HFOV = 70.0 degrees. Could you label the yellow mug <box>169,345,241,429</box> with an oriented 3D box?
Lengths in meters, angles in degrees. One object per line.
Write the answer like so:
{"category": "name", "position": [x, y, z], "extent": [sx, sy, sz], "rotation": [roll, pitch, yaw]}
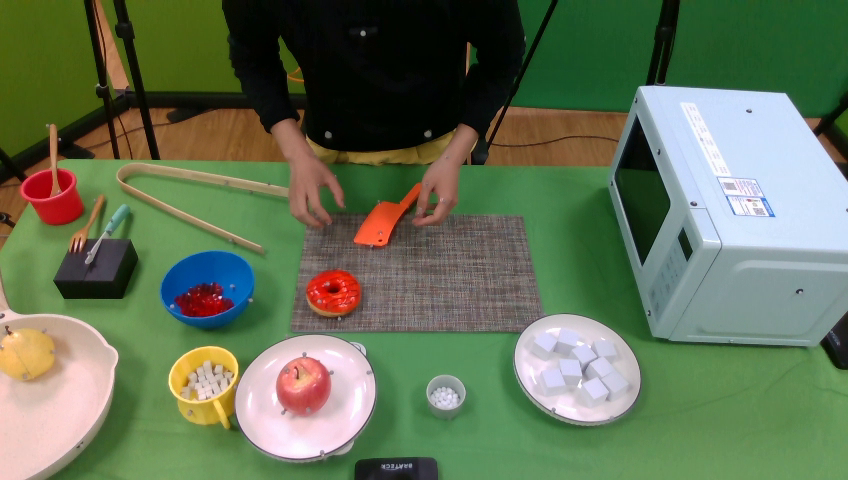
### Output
{"category": "yellow mug", "position": [-0.322, 0.230, 0.922], "extent": [0.100, 0.064, 0.130], "rotation": [-24, 53, -25]}

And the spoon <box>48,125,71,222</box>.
{"category": "spoon", "position": [-0.718, -0.131, 1.188], "extent": [0.041, 0.021, 0.193], "rotation": [-3, 90, -7]}

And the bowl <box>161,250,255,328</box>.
{"category": "bowl", "position": [-0.362, 0.098, 1.039], "extent": [0.151, 0.077, 0.150], "rotation": [2, 45, -2]}

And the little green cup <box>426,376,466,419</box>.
{"category": "little green cup", "position": [0.033, 0.248, 0.950], "extent": [0.061, 0.039, 0.061], "rotation": [2, 46, -2]}

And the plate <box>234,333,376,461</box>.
{"category": "plate", "position": [-0.174, 0.235, 0.907], "extent": [0.209, 0.038, 0.208], "rotation": [2, 46, -2]}

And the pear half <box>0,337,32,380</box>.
{"category": "pear half", "position": [-0.631, 0.184, 0.921], "extent": [0.070, 0.088, 0.031], "rotation": [29, 49, 19]}

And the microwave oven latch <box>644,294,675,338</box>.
{"category": "microwave oven latch", "position": [0.410, 0.133, 1.061], "extent": [0.030, 0.029, 0.078], "rotation": [2, 45, -1]}

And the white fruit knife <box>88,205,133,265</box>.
{"category": "white fruit knife", "position": [-0.584, -0.013, 1.129], "extent": [0.016, 0.027, 0.206], "rotation": [0, 31, -5]}

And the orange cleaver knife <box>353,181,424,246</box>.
{"category": "orange cleaver knife", "position": [-0.070, -0.059, 1.246], "extent": [0.077, 0.012, 0.210], "rotation": [18, 50, 22]}

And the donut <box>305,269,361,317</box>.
{"category": "donut", "position": [-0.160, 0.094, 1.075], "extent": [0.099, 0.048, 0.098], "rotation": [3, 46, -3]}

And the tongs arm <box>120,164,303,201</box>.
{"category": "tongs arm", "position": [-0.444, -0.114, 1.266], "extent": [0.384, 0.026, 0.050], "rotation": [12, 51, 7]}

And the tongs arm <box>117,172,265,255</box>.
{"category": "tongs arm", "position": [-0.473, -0.053, 1.211], "extent": [0.386, 0.028, 0.028], "rotation": [23, 57, 17]}

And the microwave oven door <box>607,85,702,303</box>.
{"category": "microwave oven door", "position": [0.423, -0.094, 1.140], "extent": [0.039, 0.245, 0.353], "rotation": [2, 46, -1]}

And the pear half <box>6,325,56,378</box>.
{"category": "pear half", "position": [-0.608, 0.158, 0.935], "extent": [0.076, 0.110, 0.056], "rotation": [31, 51, 20]}

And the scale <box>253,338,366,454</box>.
{"category": "scale", "position": [-0.175, 0.236, 0.951], "extent": [0.149, 0.032, 0.199], "rotation": [4, 46, 0]}

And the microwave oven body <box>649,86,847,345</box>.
{"category": "microwave oven body", "position": [0.567, -0.053, 1.118], "extent": [0.326, 0.261, 0.439], "rotation": [2, 45, -1]}

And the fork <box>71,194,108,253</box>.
{"category": "fork", "position": [-0.634, -0.036, 1.158], "extent": [0.028, 0.019, 0.206], "rotation": [-8, 32, -8]}

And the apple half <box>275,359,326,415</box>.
{"category": "apple half", "position": [-0.186, 0.222, 0.882], "extent": [0.080, 0.075, 0.053], "rotation": [38, 58, 25]}

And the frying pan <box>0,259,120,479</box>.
{"category": "frying pan", "position": [-0.647, 0.164, 0.936], "extent": [0.307, 0.103, 0.485], "rotation": [-19, 58, -22]}

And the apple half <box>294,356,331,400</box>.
{"category": "apple half", "position": [-0.160, 0.202, 0.902], "extent": [0.081, 0.082, 0.033], "rotation": [36, 57, 27]}

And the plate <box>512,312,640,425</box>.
{"category": "plate", "position": [0.246, 0.213, 0.999], "extent": [0.208, 0.039, 0.206], "rotation": [2, 46, -2]}
